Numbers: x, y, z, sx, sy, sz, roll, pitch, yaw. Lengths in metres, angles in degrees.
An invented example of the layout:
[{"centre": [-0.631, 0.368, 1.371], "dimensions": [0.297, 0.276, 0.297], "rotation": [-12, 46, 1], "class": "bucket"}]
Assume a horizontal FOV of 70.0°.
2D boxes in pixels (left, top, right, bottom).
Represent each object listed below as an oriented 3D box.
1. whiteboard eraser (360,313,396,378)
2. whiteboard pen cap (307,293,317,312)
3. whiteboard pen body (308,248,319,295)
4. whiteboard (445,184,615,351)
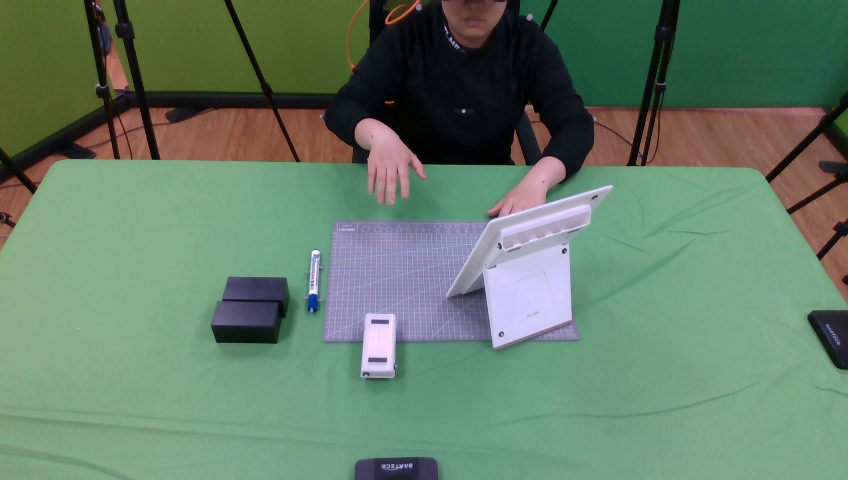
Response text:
[{"centre": [-0.075, 0.176, 1.006], "dimensions": [0.055, 0.042, 0.112], "rotation": [3, 50, -4], "class": "whiteboard eraser"}, {"centre": [-0.199, 0.110, 1.078], "dimensions": [0.018, 0.018, 0.033], "rotation": [-1, 48, -5], "class": "whiteboard pen cap"}, {"centre": [-0.204, 0.069, 1.119], "dimensions": [0.017, 0.017, 0.140], "rotation": [-1, 47, -5], "class": "whiteboard pen body"}, {"centre": [0.186, 0.065, 0.989], "dimensions": [0.217, 0.306, 0.143], "rotation": [-15, 68, -18], "class": "whiteboard"}]
